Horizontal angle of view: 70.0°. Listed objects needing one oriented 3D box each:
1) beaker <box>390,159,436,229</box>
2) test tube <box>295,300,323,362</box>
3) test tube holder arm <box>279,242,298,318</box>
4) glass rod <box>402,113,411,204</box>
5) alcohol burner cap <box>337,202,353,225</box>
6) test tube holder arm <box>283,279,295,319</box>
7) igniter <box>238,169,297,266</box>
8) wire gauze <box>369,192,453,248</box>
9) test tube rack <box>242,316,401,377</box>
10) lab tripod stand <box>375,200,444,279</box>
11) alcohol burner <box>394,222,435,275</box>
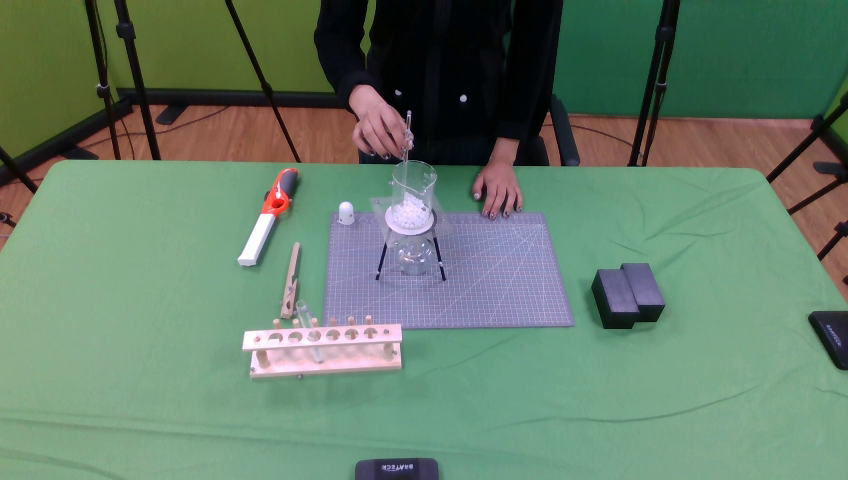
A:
[{"bbox_3d":[-0.020,-0.073,1.029,0.074,0.101,0.083,-10,48,-16],"label":"beaker"},{"bbox_3d":[-0.176,0.143,0.935,0.017,0.151,0.017,-2,46,2],"label":"test tube"},{"bbox_3d":[-0.248,0.069,1.114,0.013,0.015,0.177,25,38,-26],"label":"test tube holder arm"},{"bbox_3d":[-0.029,-0.129,1.002,0.008,0.200,0.008,2,50,-3],"label":"glass rod"},{"bbox_3d":[-0.161,-0.056,1.223,0.034,0.048,0.033,2,46,-2],"label":"alcohol burner cap"},{"bbox_3d":[-0.241,0.103,1.085,0.010,0.015,0.087,25,38,-26],"label":"test tube holder arm"},{"bbox_3d":[-0.313,-0.055,1.224,0.057,0.025,0.275,1,45,10],"label":"igniter"},{"bbox_3d":[-0.025,-0.041,1.065,0.122,0.011,0.124,-10,46,-18],"label":"wire gauze"},{"bbox_3d":[-0.161,0.166,0.983,0.242,0.085,0.066,-2,46,-6],"label":"test tube rack"},{"bbox_3d":[-0.023,0.004,1.114,0.148,0.132,0.147,4,45,-3],"label":"lab tripod stand"},{"bbox_3d":[-0.018,0.009,1.123,0.078,0.119,0.077,3,47,-3],"label":"alcohol burner"}]
